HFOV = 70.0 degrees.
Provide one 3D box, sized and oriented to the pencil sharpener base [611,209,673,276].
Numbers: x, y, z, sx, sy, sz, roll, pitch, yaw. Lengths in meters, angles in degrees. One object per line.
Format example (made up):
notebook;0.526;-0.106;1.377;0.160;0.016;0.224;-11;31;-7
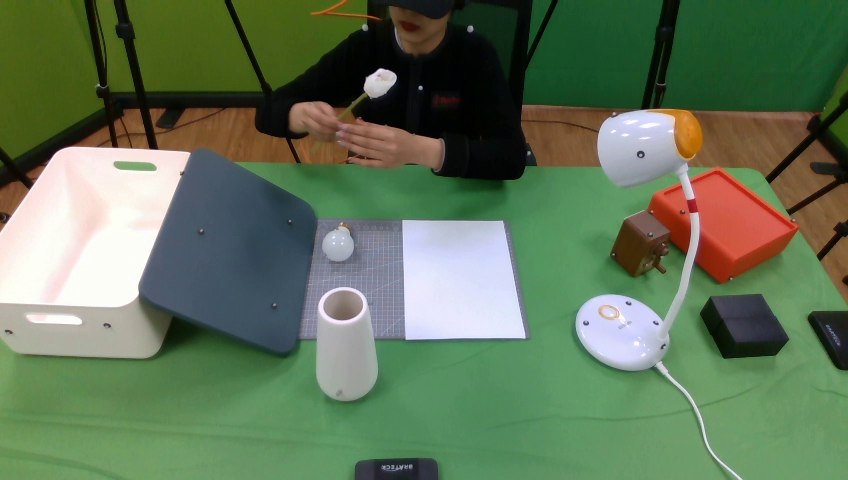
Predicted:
pencil sharpener base;0.416;0.007;1.158;0.061;0.107;0.076;-21;51;-22

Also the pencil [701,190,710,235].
pencil;0.584;-0.059;1.256;0.012;0.012;0.193;16;35;12

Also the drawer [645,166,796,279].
drawer;0.600;-0.041;1.236;0.195;0.073;0.210;-21;51;-23

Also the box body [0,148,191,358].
box body;-0.546;0.017;1.045;0.254;0.161;0.361;2;46;-2

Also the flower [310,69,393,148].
flower;-0.151;-0.227;1.117;0.044;0.361;0.038;-38;99;-29

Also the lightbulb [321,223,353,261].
lightbulb;-0.163;-0.001;1.164;0.059;0.060;0.107;4;30;0

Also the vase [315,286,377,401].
vase;-0.119;0.159;0.911;0.098;0.201;0.097;2;47;-2

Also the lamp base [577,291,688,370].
lamp base;0.361;0.110;1.003;0.160;0.181;0.178;-31;57;-29

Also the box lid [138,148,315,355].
box lid;-0.321;0.008;1.063;0.264;0.015;0.369;30;38;-28

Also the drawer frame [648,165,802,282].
drawer frame;0.603;-0.040;1.233;0.202;0.083;0.212;-21;51;-23

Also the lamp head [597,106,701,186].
lamp head;0.329;-0.138;0.865;0.112;0.113;0.122;-36;20;-32

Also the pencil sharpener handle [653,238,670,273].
pencil sharpener handle;0.444;0.030;1.120;0.036;0.068;0.030;-25;52;-18
